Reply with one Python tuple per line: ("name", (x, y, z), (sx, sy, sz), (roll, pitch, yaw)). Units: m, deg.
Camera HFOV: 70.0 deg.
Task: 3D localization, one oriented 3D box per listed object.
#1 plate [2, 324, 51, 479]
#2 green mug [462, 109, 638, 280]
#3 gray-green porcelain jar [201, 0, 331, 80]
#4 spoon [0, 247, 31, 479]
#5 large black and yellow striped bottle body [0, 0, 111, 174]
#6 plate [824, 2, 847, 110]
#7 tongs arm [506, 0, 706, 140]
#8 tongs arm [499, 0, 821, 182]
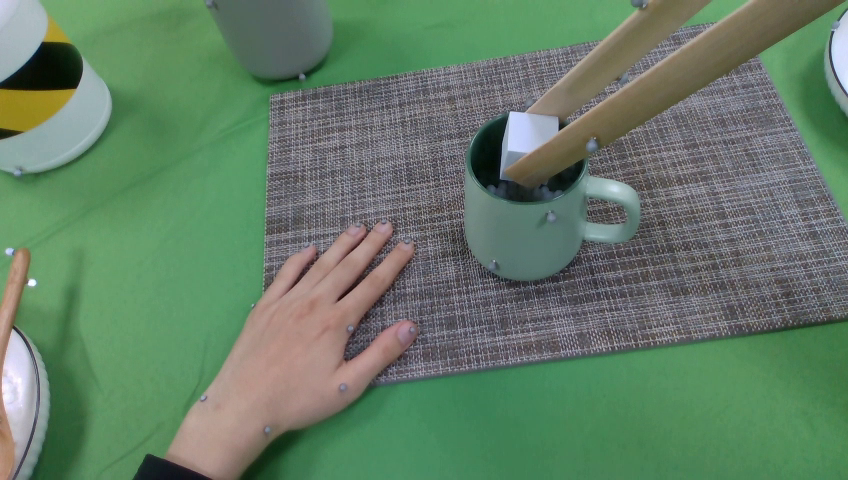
("plate", (-0.365, 0.149, 0.435), (0.209, 0.038, 0.207), (-3, 60, 6))
("green mug", (0.088, -0.027, 0.431), (0.125, 0.106, 0.092), (11, 62, 14))
("gray-green porcelain jar", (-0.148, -0.223, 0.565), (0.106, 0.127, 0.105), (-3, 60, 6))
("spoon", (-0.309, 0.091, 0.442), (0.041, 0.022, 0.192), (-7, 69, 2))
("large black and yellow striped bottle body", (-0.383, -0.159, 0.525), (0.130, 0.185, 0.129), (-3, 61, 6))
("plate", (0.434, -0.135, 0.488), (0.207, 0.039, 0.206), (-3, 61, 6))
("tongs arm", (0.151, -0.128, 0.238), (0.027, 0.385, 0.050), (25, 56, -19))
("tongs arm", (0.146, -0.108, 0.227), (0.028, 0.387, 0.028), (28, 59, -17))
